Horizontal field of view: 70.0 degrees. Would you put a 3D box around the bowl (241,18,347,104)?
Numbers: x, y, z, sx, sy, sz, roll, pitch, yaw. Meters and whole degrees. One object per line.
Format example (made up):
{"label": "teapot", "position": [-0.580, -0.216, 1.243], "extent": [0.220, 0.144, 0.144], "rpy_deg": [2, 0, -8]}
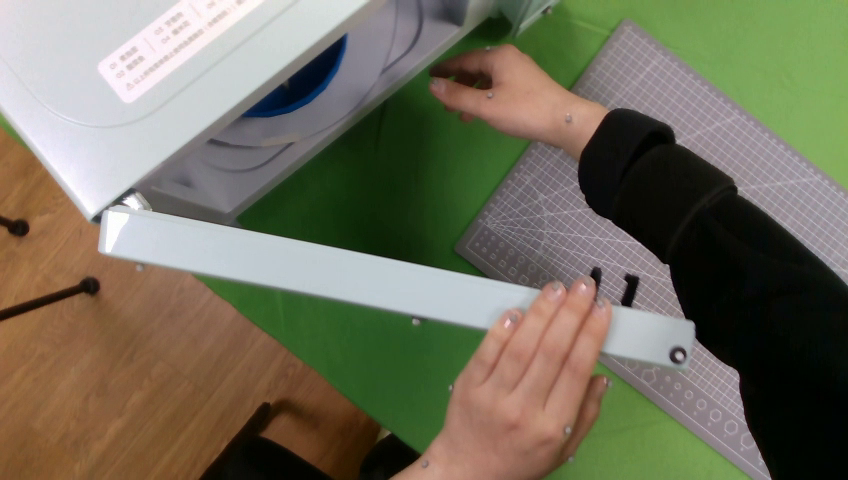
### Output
{"label": "bowl", "position": [-0.135, -0.178, 0.506], "extent": [0.151, 0.077, 0.151], "rpy_deg": [0, 85, -2]}

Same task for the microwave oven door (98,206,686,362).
{"label": "microwave oven door", "position": [-0.019, 0.028, 0.472], "extent": [0.356, 0.244, 0.039], "rpy_deg": [11, 87, -3]}

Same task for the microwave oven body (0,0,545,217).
{"label": "microwave oven body", "position": [-0.111, -0.254, 0.477], "extent": [0.441, 0.260, 0.326], "rpy_deg": [-39, 91, -2]}

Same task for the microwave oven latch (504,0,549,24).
{"label": "microwave oven latch", "position": [0.116, -0.246, 0.586], "extent": [0.079, 0.029, 0.030], "rpy_deg": [-37, 91, -3]}
